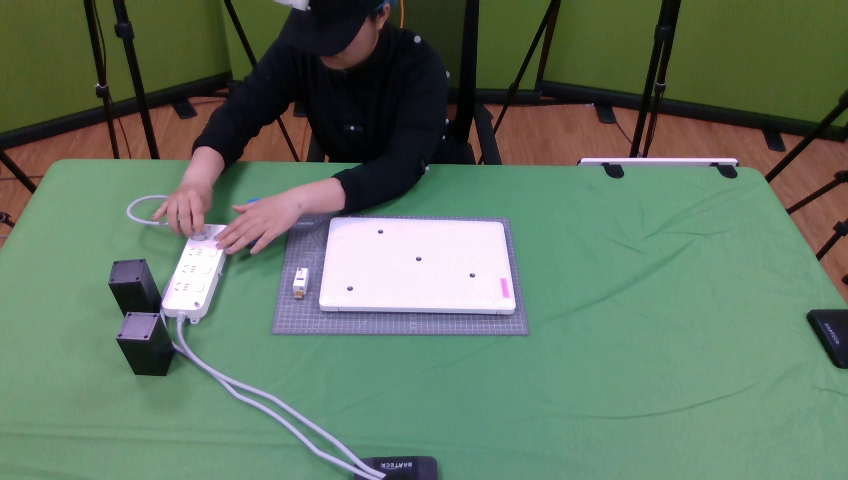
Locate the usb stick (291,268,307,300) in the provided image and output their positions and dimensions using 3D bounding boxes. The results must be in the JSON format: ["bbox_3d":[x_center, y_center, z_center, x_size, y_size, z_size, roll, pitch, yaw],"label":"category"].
[{"bbox_3d":[-0.226,0.081,1.094,0.021,0.027,0.059,4,48,-2],"label":"usb stick"}]

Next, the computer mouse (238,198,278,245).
[{"bbox_3d":[-0.328,-0.040,1.202,0.063,0.041,0.116,3,49,-3],"label":"computer mouse"}]

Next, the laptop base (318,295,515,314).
[{"bbox_3d":[-0.014,0.049,1.150,0.354,0.023,0.234,1,42,-3],"label":"laptop base"}]

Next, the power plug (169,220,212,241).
[{"bbox_3d":[-0.436,-0.016,1.149,0.072,0.053,0.035,7,48,21],"label":"power plug"}]

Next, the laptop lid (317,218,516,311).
[{"bbox_3d":[-0.013,0.040,1.143,0.357,0.013,0.240,3,43,-2],"label":"laptop lid"}]

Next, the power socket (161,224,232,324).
[{"bbox_3d":[-0.412,0.052,1.107,0.072,0.033,0.225,4,46,-2],"label":"power socket"}]
